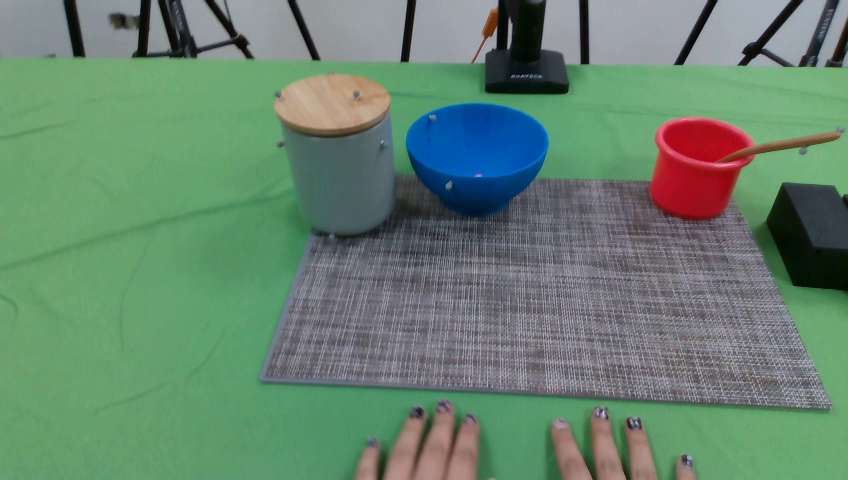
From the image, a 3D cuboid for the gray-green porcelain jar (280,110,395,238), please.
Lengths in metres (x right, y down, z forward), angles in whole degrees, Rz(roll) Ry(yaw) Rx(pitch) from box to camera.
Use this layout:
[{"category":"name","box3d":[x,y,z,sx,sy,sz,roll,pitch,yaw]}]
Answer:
[{"category":"gray-green porcelain jar","box3d":[-0.084,-0.074,0.619,0.106,0.127,0.105,-1,41,1]}]

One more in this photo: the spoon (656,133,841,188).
[{"category":"spoon","box3d":[0.311,-0.078,0.601,0.041,0.193,0.021,-28,93,-25]}]

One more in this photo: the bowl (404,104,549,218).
[{"category":"bowl","box3d":[0.055,-0.077,0.656,0.151,0.077,0.150,-1,41,1]}]

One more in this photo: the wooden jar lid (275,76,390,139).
[{"category":"wooden jar lid","box3d":[-0.086,-0.123,0.577,0.108,0.021,0.107,0,40,0]}]
